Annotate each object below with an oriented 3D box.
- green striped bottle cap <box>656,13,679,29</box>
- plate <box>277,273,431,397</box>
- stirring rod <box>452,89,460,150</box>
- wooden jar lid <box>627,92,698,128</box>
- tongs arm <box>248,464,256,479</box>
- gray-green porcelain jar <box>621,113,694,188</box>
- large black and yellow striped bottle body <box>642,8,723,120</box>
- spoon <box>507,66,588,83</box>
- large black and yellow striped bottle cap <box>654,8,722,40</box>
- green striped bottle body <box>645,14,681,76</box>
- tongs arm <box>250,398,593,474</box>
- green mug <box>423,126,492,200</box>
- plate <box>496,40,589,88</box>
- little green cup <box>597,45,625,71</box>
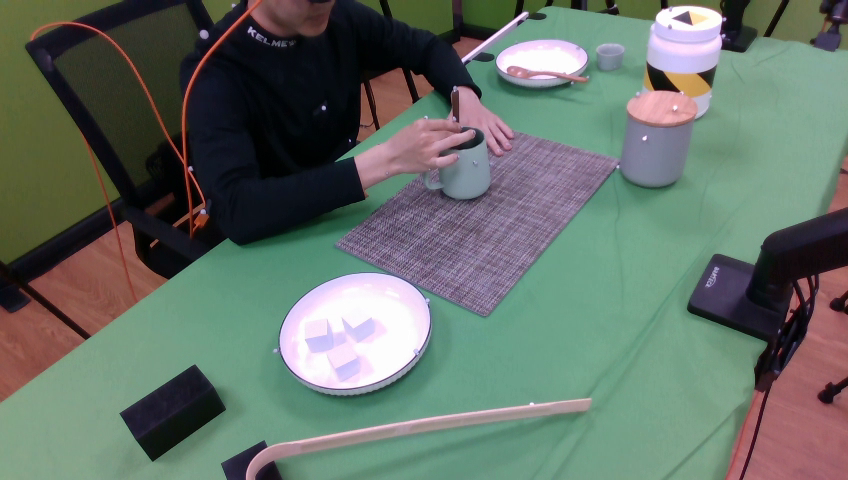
[{"bbox_3d":[0.515,-0.463,1.278,0.044,0.020,0.044,-5,42,5],"label":"green striped bottle cap"},{"bbox_3d":[-0.091,0.129,0.821,0.207,0.039,0.206,-4,40,4],"label":"plate"},{"bbox_3d":[0.055,-0.176,1.030,0.006,0.177,0.014,26,50,28],"label":"stirring rod"},{"bbox_3d":[0.384,-0.207,0.980,0.108,0.021,0.108,-6,39,5],"label":"wooden jar lid"},{"bbox_3d":[0.012,0.262,0.615,0.385,0.026,0.050,3,42,-2],"label":"tongs arm"},{"bbox_3d":[0.390,-0.161,1.020,0.106,0.127,0.105,-4,41,4],"label":"gray-green porcelain jar"},{"bbox_3d":[0.493,-0.334,1.161,0.131,0.185,0.130,-4,41,4],"label":"large black and yellow striped bottle body"},{"bbox_3d":[0.265,-0.357,1.311,0.192,0.022,0.042,18,48,38],"label":"spoon"},{"bbox_3d":[0.483,-0.397,1.108,0.115,0.019,0.114,-3,41,3],"label":"large black and yellow striped bottle cap"},{"bbox_3d":[0.520,-0.424,1.312,0.063,0.120,0.063,-4,41,4],"label":"green striped bottle body"},{"bbox_3d":[0.008,0.212,0.675,0.389,0.028,0.028,-5,46,-11],"label":"tongs arm"},{"bbox_3d":[0.055,-0.125,1.039,0.126,0.105,0.091,-25,44,-19],"label":"green mug"},{"bbox_3d":[0.269,-0.398,1.381,0.209,0.038,0.208,-4,41,4],"label":"plate"},{"bbox_3d":[0.423,-0.413,1.375,0.061,0.039,0.061,-3,41,3],"label":"little green cup"}]
